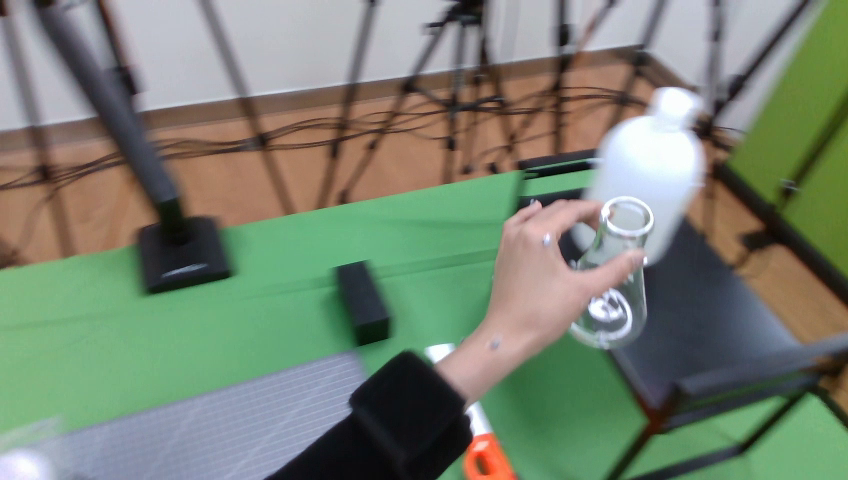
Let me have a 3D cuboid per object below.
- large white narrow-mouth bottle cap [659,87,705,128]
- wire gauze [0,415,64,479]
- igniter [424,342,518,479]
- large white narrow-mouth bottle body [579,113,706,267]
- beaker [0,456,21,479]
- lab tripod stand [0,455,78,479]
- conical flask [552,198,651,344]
[{"bbox_3d":[0.245,-0.127,0.577,0.038,0.024,0.037,4,47,-4],"label":"large white narrow-mouth bottle cap"},{"bbox_3d":[-0.357,0.216,0.489,0.122,0.011,0.124,-19,57,-22],"label":"wire gauze"},{"bbox_3d":[0.061,0.235,0.697,0.057,0.025,0.273,-4,48,-26],"label":"igniter"},{"bbox_3d":[0.236,-0.066,0.640,0.102,0.196,0.101,4,47,-4],"label":"large white narrow-mouth bottle body"},{"bbox_3d":[-0.354,0.185,0.450,0.084,0.101,0.073,6,47,-3],"label":"beaker"},{"bbox_3d":[-0.359,0.262,0.534,0.148,0.132,0.147,6,47,-6],"label":"lab tripod stand"},{"bbox_3d":[0.143,0.021,0.469,0.075,0.123,0.074,-2,51,2],"label":"conical flask"}]
